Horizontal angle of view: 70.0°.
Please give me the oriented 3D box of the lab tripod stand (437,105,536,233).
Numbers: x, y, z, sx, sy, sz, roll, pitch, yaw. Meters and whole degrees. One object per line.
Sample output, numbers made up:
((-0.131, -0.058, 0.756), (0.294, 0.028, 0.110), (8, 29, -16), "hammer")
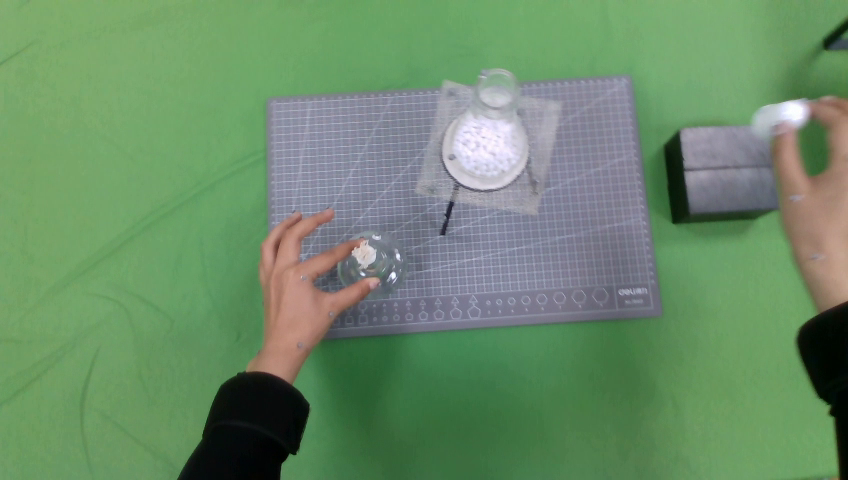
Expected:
((0.056, -0.082, 0.660), (0.148, 0.132, 0.147), (0, 79, 3), "lab tripod stand")

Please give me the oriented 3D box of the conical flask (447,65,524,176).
((0.058, -0.109, 0.538), (0.075, 0.122, 0.075), (0, 78, 2), "conical flask")

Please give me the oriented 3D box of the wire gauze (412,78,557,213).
((0.061, -0.094, 0.595), (0.121, 0.011, 0.124), (13, 77, 2), "wire gauze")

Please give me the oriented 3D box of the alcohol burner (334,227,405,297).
((-0.060, 0.022, 0.651), (0.078, 0.119, 0.077), (0, 80, 0), "alcohol burner")

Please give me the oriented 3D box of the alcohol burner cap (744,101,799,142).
((0.310, -0.107, 0.537), (0.034, 0.048, 0.034), (0, 91, 1), "alcohol burner cap")
